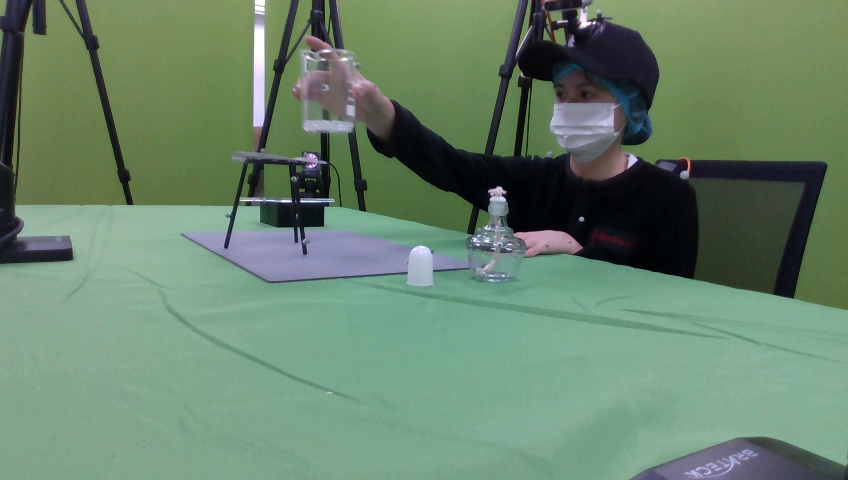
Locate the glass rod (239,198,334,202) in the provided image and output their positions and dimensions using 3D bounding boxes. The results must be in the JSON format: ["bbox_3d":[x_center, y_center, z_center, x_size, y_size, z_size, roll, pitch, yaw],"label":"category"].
[{"bbox_3d":[-0.277,-0.081,1.232,0.201,0.008,0.008,-1,8,-30],"label":"glass rod"}]

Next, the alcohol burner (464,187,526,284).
[{"bbox_3d":[0.089,-0.007,0.747,0.078,0.119,0.078,3,9,0],"label":"alcohol burner"}]

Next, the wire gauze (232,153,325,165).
[{"bbox_3d":[-0.214,-0.118,0.881,0.125,0.011,0.121,0,7,-19],"label":"wire gauze"}]

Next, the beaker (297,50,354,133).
[{"bbox_3d":[-0.130,-0.192,0.790,0.074,0.100,0.084,2,8,10],"label":"beaker"}]

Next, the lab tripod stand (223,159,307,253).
[{"bbox_3d":[-0.220,-0.053,0.896,0.148,0.131,0.148,1,6,0],"label":"lab tripod stand"}]

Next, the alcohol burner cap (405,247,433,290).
[{"bbox_3d":[-0.005,0.031,0.698,0.034,0.048,0.034,2,8,0],"label":"alcohol burner cap"}]
